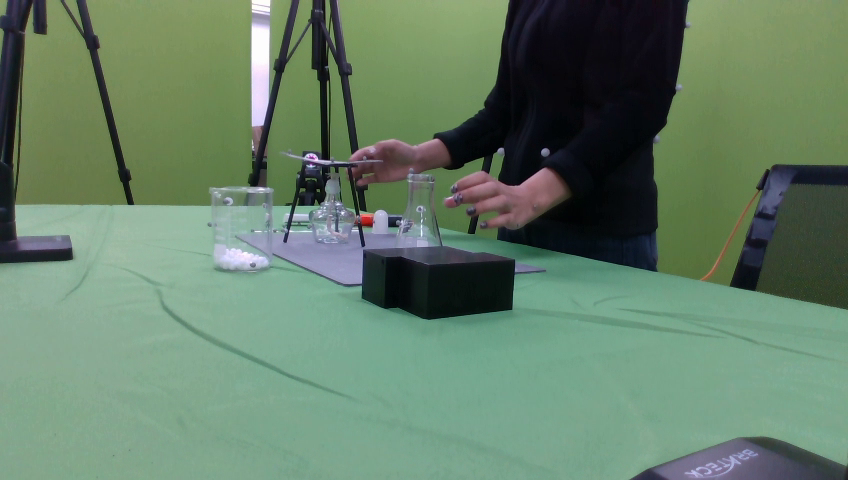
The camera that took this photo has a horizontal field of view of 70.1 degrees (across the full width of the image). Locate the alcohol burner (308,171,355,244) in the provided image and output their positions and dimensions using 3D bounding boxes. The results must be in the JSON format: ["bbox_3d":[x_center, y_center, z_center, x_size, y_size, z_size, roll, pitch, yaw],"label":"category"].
[{"bbox_3d":[-0.151,-0.054,0.993,0.078,0.119,0.078,2,6,0],"label":"alcohol burner"}]

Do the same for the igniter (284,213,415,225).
[{"bbox_3d":[-0.154,-0.045,1.282,0.278,0.025,0.057,0,-3,-20],"label":"igniter"}]

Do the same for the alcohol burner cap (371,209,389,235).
[{"bbox_3d":[-0.082,-0.035,1.143,0.034,0.048,0.034,3,6,0],"label":"alcohol burner cap"}]

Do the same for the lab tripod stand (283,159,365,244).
[{"bbox_3d":[-0.151,-0.063,0.983,0.148,0.131,0.148,4,7,0],"label":"lab tripod stand"}]

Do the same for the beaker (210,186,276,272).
[{"bbox_3d":[-0.224,-0.014,0.738,0.084,0.100,0.074,4,7,16],"label":"beaker"}]

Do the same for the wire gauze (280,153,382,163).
[{"bbox_3d":[-0.149,-0.129,0.974,0.124,0.011,0.122,10,9,40],"label":"wire gauze"}]

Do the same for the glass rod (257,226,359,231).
[{"bbox_3d":[-0.216,-0.022,1.151,0.201,0.008,0.008,-2,8,-28],"label":"glass rod"}]

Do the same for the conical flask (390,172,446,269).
[{"bbox_3d":[-0.006,-0.027,0.790,0.075,0.122,0.075,2,7,0],"label":"conical flask"}]
